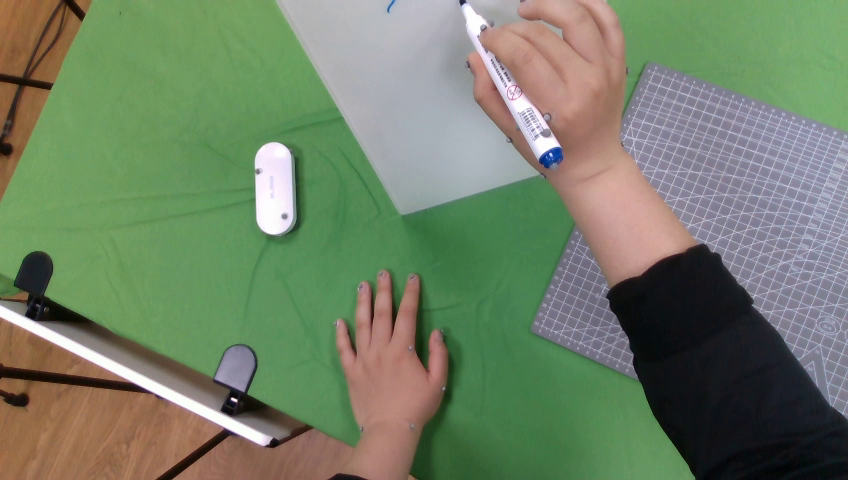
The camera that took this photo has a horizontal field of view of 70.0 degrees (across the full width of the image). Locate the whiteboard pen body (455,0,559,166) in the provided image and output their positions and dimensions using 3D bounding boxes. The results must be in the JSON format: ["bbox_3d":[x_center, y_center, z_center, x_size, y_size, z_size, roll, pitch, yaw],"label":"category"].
[{"bbox_3d":[0.049,-0.106,0.387,0.017,0.017,0.139,-27,68,5],"label":"whiteboard pen body"}]

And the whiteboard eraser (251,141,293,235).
[{"bbox_3d":[-0.164,-0.057,0.653,0.041,0.019,0.101,-4,84,6],"label":"whiteboard eraser"}]

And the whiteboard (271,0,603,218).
[{"bbox_3d":[0.026,-0.179,0.527,0.217,0.308,0.142,-17,61,7],"label":"whiteboard"}]
